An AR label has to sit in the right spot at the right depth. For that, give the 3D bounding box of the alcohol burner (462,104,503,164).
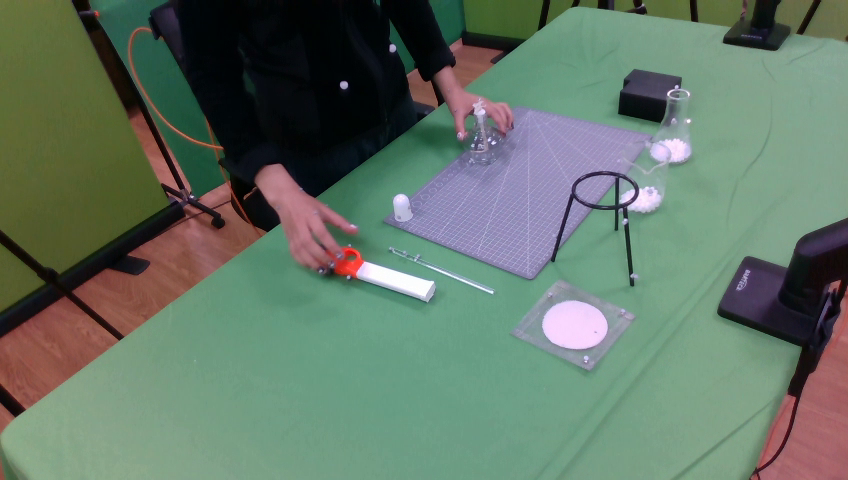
[{"bbox_3d":[0.109,-0.202,1.127,0.078,0.119,0.077,-5,42,5],"label":"alcohol burner"}]

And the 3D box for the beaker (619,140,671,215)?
[{"bbox_3d":[0.352,-0.096,0.971,0.074,0.101,0.084,1,42,13],"label":"beaker"}]

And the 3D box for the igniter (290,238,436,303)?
[{"bbox_3d":[-0.106,0.044,0.949,0.274,0.025,0.057,16,54,28],"label":"igniter"}]

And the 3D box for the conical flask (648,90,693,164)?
[{"bbox_3d":[0.437,-0.199,1.057,0.075,0.122,0.075,-5,40,5],"label":"conical flask"}]

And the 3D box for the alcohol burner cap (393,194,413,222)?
[{"bbox_3d":[-0.038,-0.057,1.038,0.034,0.048,0.033,-5,41,5],"label":"alcohol burner cap"}]

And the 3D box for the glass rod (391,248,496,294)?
[{"bbox_3d":[0.026,0.045,0.936,0.198,0.008,0.008,21,49,31],"label":"glass rod"}]

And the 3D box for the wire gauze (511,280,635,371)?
[{"bbox_3d":[0.203,0.114,0.822,0.120,0.011,0.125,25,52,35],"label":"wire gauze"}]

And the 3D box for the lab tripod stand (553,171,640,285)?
[{"bbox_3d":[0.260,-0.025,0.877,0.148,0.132,0.147,-6,38,5],"label":"lab tripod stand"}]
